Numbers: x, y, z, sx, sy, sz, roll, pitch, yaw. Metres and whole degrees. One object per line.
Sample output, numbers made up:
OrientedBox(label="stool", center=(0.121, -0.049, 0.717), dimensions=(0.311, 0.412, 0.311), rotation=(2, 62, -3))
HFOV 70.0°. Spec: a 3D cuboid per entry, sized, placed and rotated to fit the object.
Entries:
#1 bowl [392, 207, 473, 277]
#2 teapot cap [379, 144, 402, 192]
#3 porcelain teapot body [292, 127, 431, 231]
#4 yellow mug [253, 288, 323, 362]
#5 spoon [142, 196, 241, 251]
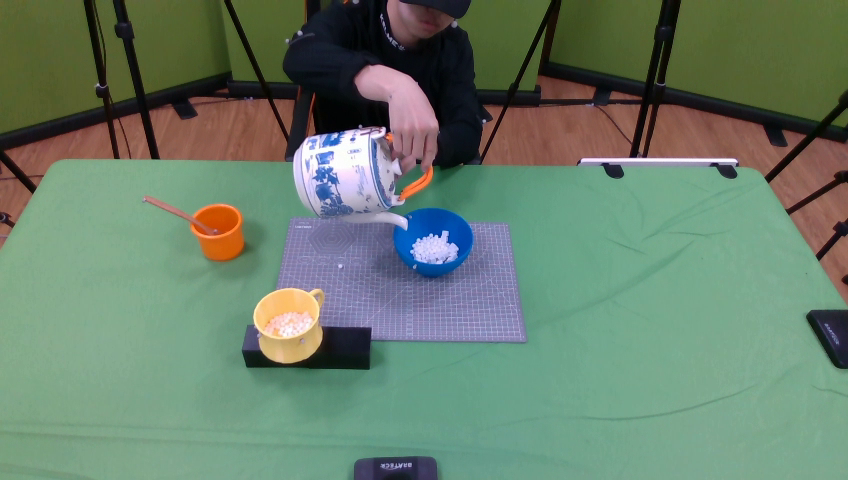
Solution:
OrientedBox(label="bowl", center=(0.014, 0.016, 1.140), dimensions=(0.151, 0.077, 0.150), rotation=(2, 47, -2))
OrientedBox(label="teapot cap", center=(-0.060, -0.123, 1.036), dimensions=(0.044, 0.085, 0.084), rotation=(-7, 45, 8))
OrientedBox(label="porcelain teapot body", center=(-0.093, -0.097, 1.060), dimensions=(0.225, 0.206, 0.144), rotation=(-7, 37, 10))
OrientedBox(label="yellow mug", center=(-0.205, 0.124, 0.963), dimensions=(0.099, 0.064, 0.130), rotation=(27, 48, 20))
OrientedBox(label="spoon", center=(-0.421, -0.032, 1.108), dimensions=(0.021, 0.195, 0.041), rotation=(-32, 40, 27))
